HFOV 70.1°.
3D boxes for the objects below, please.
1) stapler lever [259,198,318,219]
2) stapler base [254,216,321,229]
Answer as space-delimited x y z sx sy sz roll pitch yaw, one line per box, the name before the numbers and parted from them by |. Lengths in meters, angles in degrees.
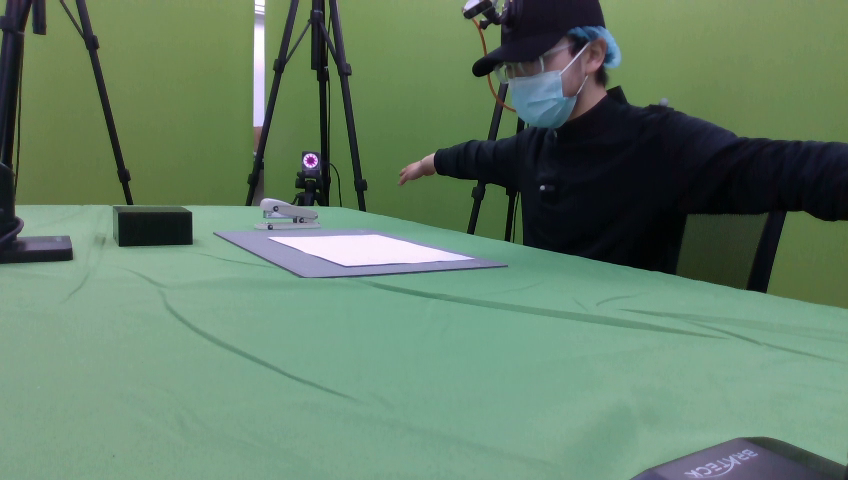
stapler lever | -0.267 -0.061 1.195 0.119 0.040 0.026 -1 11 -40
stapler base | -0.269 -0.036 1.197 0.131 0.024 0.041 -1 11 -40
